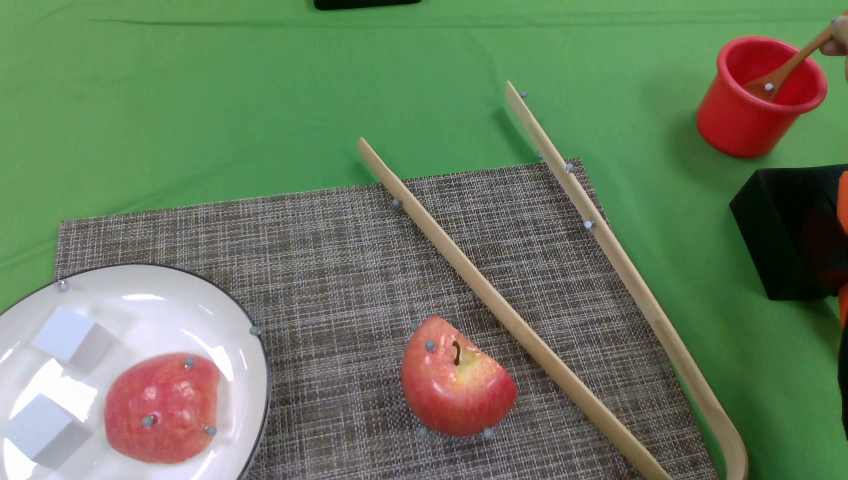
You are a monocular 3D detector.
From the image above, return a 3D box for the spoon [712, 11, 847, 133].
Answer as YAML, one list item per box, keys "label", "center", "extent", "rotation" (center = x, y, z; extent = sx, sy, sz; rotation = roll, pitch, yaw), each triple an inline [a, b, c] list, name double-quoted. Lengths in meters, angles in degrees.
- label: "spoon"
  center: [0.337, -0.163, 0.529]
  extent: [0.022, 0.194, 0.041]
  rotation: [4, 55, -31]

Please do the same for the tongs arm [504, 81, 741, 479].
- label: "tongs arm"
  center: [0.135, 0.014, 0.489]
  extent: [0.051, 0.027, 0.381]
  rotation: [-18, 62, -17]

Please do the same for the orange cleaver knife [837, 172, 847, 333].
- label: "orange cleaver knife"
  center: [0.342, 0.050, 0.455]
  extent: [0.012, 0.077, 0.211]
  rotation: [-3, 88, -6]

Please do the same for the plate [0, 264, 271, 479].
- label: "plate"
  center: [-0.204, 0.113, 0.396]
  extent: [0.209, 0.038, 0.207]
  rotation: [2, 57, -3]

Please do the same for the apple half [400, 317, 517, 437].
- label: "apple half"
  center: [0.015, 0.099, 0.401]
  extent: [0.080, 0.075, 0.053]
  rotation: [39, 67, 15]

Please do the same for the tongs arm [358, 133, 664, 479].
- label: "tongs arm"
  center: [0.062, 0.045, 0.465]
  extent: [0.028, 0.028, 0.384]
  rotation: [-30, 65, -26]

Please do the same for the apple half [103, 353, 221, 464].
- label: "apple half"
  center: [-0.174, 0.106, 0.397]
  extent: [0.081, 0.033, 0.080]
  rotation: [4, 57, -6]
